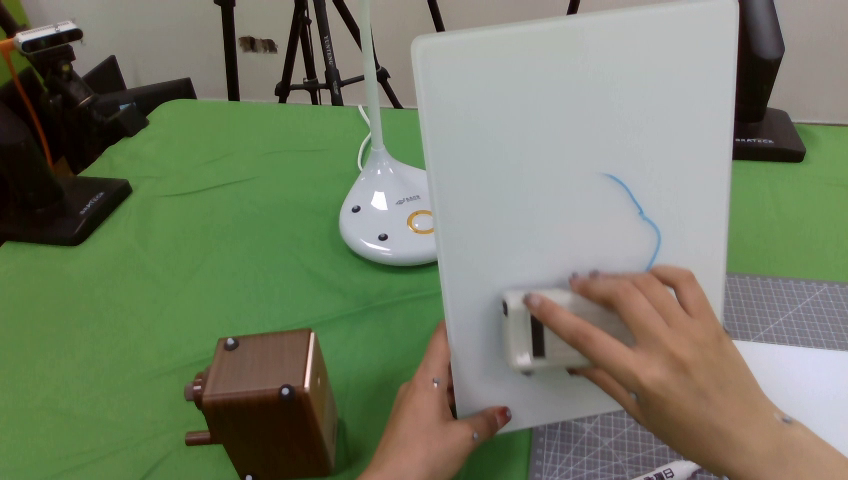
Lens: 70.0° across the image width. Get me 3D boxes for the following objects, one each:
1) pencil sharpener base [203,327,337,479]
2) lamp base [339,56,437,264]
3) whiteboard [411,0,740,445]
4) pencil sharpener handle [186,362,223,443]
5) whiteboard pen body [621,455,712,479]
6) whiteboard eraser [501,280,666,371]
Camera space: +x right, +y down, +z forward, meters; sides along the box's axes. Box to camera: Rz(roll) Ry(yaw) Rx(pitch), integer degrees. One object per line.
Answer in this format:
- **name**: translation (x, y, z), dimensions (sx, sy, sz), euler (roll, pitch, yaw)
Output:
- **pencil sharpener base**: translation (-0.111, 0.123, 0.449), dimensions (0.077, 0.108, 0.060), euler (-6, 40, 0)
- **lamp base**: translation (-0.029, -0.093, 0.646), dimensions (0.161, 0.182, 0.177), euler (-27, 42, -25)
- **whiteboard**: translation (0.108, -0.021, 0.493), dimensions (0.217, 0.307, 0.143), euler (-9, 21, -4)
- **pencil sharpener handle**: translation (-0.162, 0.121, 0.437), dimensions (0.030, 0.068, 0.035), euler (-6, 27, 0)
- **whiteboard pen body**: translation (0.143, 0.176, 0.428), dimensions (0.141, 0.017, 0.017), euler (-15, 40, -12)
- **whiteboard eraser**: translation (0.113, 0.060, 0.432), dimensions (0.113, 0.056, 0.041), euler (-5, 10, -4)
